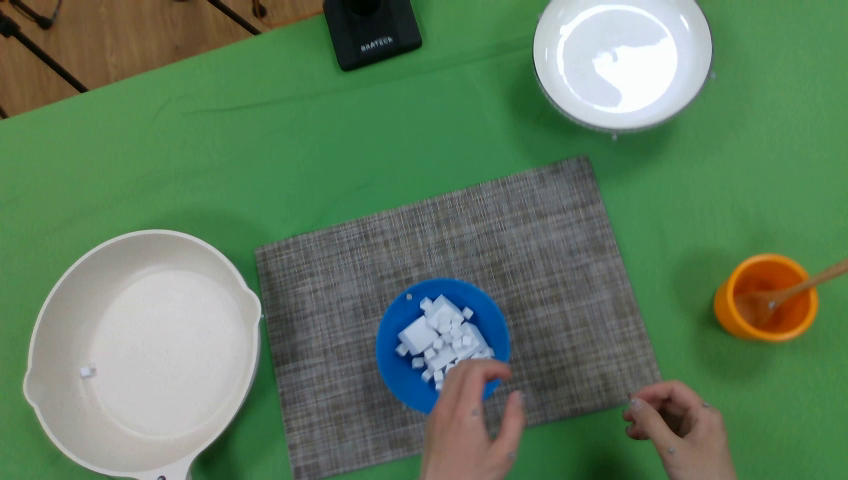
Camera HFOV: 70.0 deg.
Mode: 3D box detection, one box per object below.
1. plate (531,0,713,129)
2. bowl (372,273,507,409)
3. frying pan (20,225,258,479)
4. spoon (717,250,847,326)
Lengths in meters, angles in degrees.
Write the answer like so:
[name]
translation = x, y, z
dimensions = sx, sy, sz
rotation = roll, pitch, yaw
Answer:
[plate]
translation = 0.233, -0.227, 0.729
dimensions = 0.207, 0.039, 0.206
rotation = -1, 79, 7
[bowl]
translation = 0.022, 0.118, 0.702
dimensions = 0.151, 0.077, 0.150
rotation = -2, 77, 7
[frying pan]
translation = -0.307, 0.219, 0.711
dimensions = 0.307, 0.103, 0.483
rotation = -20, 67, 3
[spoon]
translation = 0.400, 0.041, 0.640
dimensions = 0.022, 0.194, 0.041
rotation = -13, 70, -41
